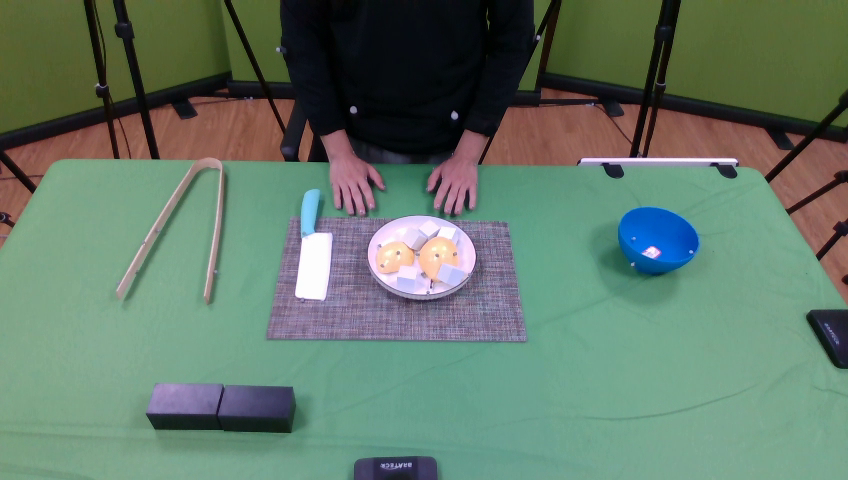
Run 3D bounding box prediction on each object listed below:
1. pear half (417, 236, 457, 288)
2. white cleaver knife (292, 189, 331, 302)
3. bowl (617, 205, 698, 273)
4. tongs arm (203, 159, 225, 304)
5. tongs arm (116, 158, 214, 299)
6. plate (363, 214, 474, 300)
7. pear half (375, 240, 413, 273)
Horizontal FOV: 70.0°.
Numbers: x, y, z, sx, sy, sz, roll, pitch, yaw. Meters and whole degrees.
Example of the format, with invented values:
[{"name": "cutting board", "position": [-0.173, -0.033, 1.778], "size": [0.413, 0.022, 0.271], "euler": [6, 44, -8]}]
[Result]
[{"name": "pear half", "position": [0.022, 0.039, 1.127], "size": [0.076, 0.056, 0.109], "euler": [6, 50, 7]}, {"name": "white cleaver knife", "position": [-0.215, 0.006, 1.178], "size": [0.066, 0.021, 0.284], "euler": [4, 49, -11]}, {"name": "bowl", "position": [0.444, 0.011, 1.181], "size": [0.151, 0.077, 0.150], "euler": [2, 46, -2]}, {"name": "tongs arm", "position": [-0.415, -0.032, 1.191], "size": [0.028, 0.028, 0.385], "euler": [-6, 47, -7]}, {"name": "tongs arm", "position": [-0.495, -0.037, 1.184], "size": [0.051, 0.026, 0.382], "euler": [5, 45, 0]}, {"name": "plate", "position": [-0.010, 0.036, 1.146], "size": [0.208, 0.039, 0.206], "euler": [3, 46, -2]}, {"name": "pear half", "position": [-0.059, 0.026, 1.145], "size": [0.070, 0.031, 0.088], "euler": [22, 43, 21]}]
